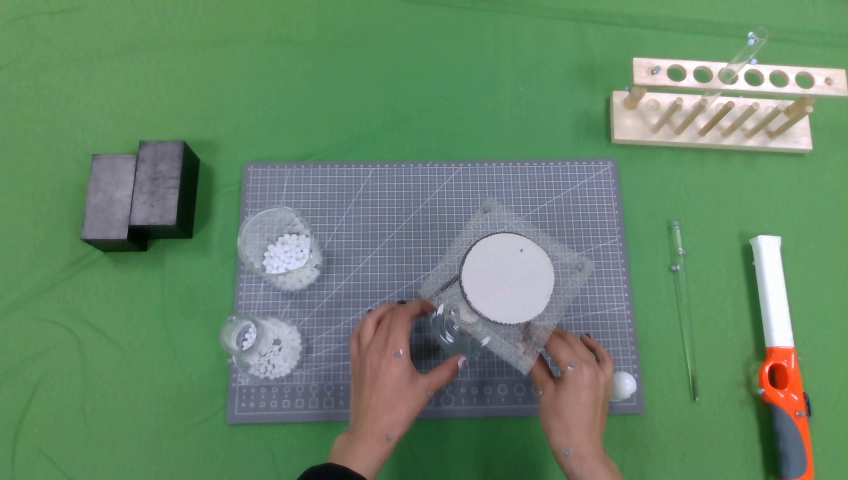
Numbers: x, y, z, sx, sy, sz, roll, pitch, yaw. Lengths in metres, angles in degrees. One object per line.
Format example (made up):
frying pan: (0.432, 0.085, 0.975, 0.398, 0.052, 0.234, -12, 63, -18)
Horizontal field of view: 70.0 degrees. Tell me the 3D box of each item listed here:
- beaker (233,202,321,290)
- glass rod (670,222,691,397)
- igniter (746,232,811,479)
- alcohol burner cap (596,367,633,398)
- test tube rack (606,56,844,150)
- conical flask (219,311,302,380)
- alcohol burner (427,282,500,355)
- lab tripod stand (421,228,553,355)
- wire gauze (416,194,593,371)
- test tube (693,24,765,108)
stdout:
beaker: (-0.149, 0.013, 0.646, 0.084, 0.100, 0.074, 35, 77, 8)
glass rod: (0.292, 0.076, 0.690, 0.008, 0.008, 0.198, 0, 77, -2)
igniter: (0.390, 0.126, 0.670, 0.057, 0.025, 0.275, 4, 74, -11)
alcohol burner cap: (0.206, 0.151, 0.647, 0.034, 0.048, 0.033, 1, 74, -2)
test tube rack: (0.349, -0.160, 0.716, 0.242, 0.085, 0.066, 3, 74, 0)
conical flask: (-0.169, 0.100, 0.610, 0.075, 0.122, 0.075, 0, 74, -1)
alcohol burner: (0.042, 0.079, 0.626, 0.078, 0.119, 0.077, 0, 75, 1)
lab tripod stand: (0.070, 0.051, 0.624, 0.148, 0.132, 0.147, 0, 76, 0)
wire gauze: (0.075, 0.035, 0.558, 0.124, 0.011, 0.121, 35, 78, 8)
test tube: (0.334, -0.188, 0.673, 0.017, 0.151, 0.017, 0, 74, 2)
